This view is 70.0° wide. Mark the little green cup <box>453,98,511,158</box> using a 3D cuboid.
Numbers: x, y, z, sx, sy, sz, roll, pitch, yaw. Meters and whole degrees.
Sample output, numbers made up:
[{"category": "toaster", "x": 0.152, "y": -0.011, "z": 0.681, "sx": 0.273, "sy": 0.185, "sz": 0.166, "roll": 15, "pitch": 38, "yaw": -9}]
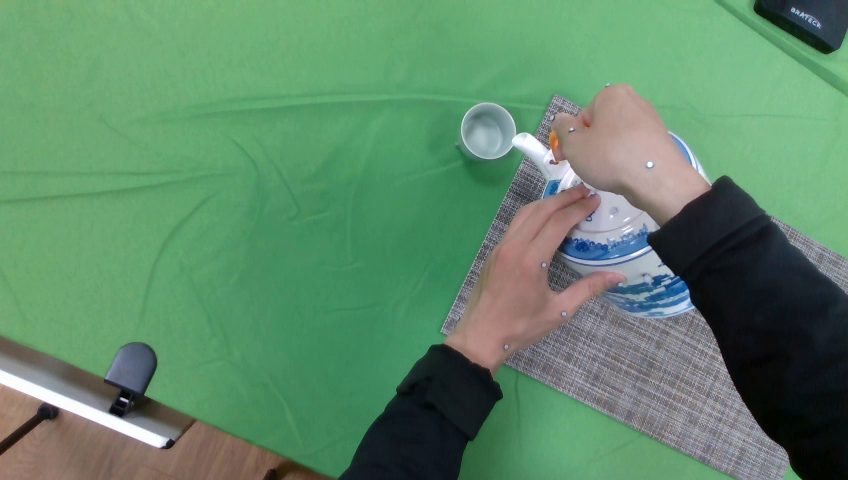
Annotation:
[{"category": "little green cup", "x": 0.061, "y": -0.119, "z": 0.661, "sx": 0.062, "sy": 0.038, "sz": 0.061, "roll": 1, "pitch": 86, "yaw": -10}]

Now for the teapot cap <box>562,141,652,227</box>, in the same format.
[{"category": "teapot cap", "x": 0.154, "y": -0.051, "z": 0.522, "sx": 0.044, "sy": 0.084, "sz": 0.085, "roll": 37, "pitch": 81, "yaw": -39}]

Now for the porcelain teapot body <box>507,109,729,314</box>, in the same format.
[{"category": "porcelain teapot body", "x": 0.161, "y": -0.044, "z": 0.571, "sx": 0.145, "sy": 0.203, "sz": 0.228, "roll": -53, "pitch": 132, "yaw": 1}]
